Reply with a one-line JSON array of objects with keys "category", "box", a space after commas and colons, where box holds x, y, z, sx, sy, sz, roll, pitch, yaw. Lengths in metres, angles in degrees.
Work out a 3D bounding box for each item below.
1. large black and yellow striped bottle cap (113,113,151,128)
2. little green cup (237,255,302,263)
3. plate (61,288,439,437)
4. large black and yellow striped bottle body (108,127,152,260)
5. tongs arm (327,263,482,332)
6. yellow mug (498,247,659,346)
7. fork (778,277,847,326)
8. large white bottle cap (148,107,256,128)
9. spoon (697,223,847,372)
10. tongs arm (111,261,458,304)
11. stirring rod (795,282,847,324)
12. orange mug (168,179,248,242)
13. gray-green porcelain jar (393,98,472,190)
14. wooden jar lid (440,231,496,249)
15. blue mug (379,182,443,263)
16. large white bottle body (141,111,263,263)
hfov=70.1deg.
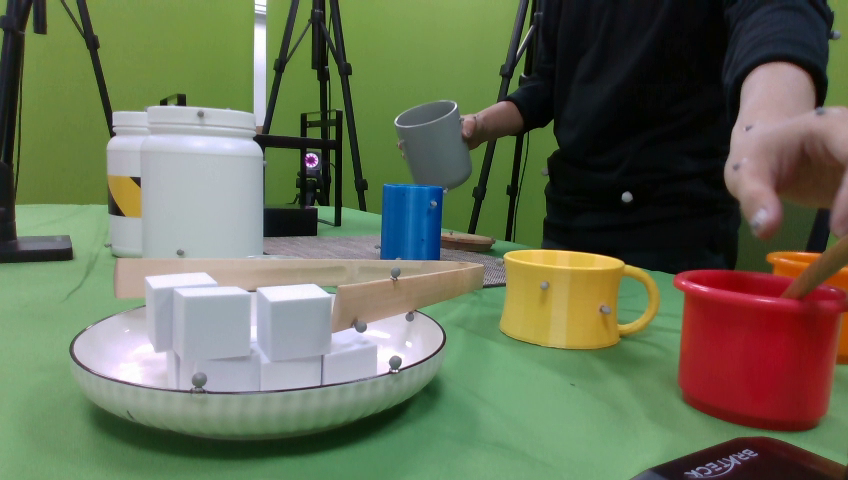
[{"category": "large black and yellow striped bottle cap", "box": [-0.348, -0.154, 0.800, 0.115, 0.019, 0.115, 2, 6, 0]}, {"category": "little green cup", "box": [-0.150, 0.038, 0.590, 0.061, 0.038, 0.061, 3, 7, 0]}, {"category": "plate", "box": [-0.095, 0.069, 0.362, 0.208, 0.039, 0.207, 3, 7, 0]}, {"category": "large black and yellow striped bottle body", "box": [-0.350, -0.071, 0.812, 0.131, 0.184, 0.130, 2, 8, 0]}, {"category": "tongs arm", "box": [-0.003, 0.036, 0.493, 0.050, 0.026, 0.386, 1, 0, 19]}, {"category": "yellow mug", "box": [0.130, 0.045, 0.509, 0.131, 0.064, 0.100, 4, 7, 5]}, {"category": "fork", "box": [0.336, 0.018, 0.443, 0.028, 0.018, 0.207, -2, -36, -20]}, {"category": "large white bottle cap", "box": [-0.250, -0.137, 0.686, 0.115, 0.018, 0.115, 2, 8, 0]}, {"category": "spoon", "box": [0.195, 0.032, 0.323, 0.041, 0.021, 0.194, 1, -36, 2]}, {"category": "tongs arm", "box": [-0.080, 0.032, 0.527, 0.028, 0.027, 0.389, -3, -3, 33]}, {"category": "stirring rod", "box": [0.346, 0.019, 0.460, 0.014, 0.176, 0.006, -16, 59, -26]}, {"category": "orange mug", "box": [-0.351, -0.050, 0.986, 0.126, 0.101, 0.083, -4, 8, -9]}, {"category": "gray-green porcelain jar", "box": [0.018, -0.151, 0.986, 0.106, 0.127, 0.105, -13, 29, 8]}, {"category": "wooden jar lid", "box": [0.066, 0.000, 1.011, 0.108, 0.020, 0.108, 6, 7, 0]}, {"category": "blue mug", "box": [-0.020, -0.026, 0.833, 0.082, 0.106, 0.116, 1, 7, -7]}, {"category": "large white bottle body", "box": [-0.254, -0.054, 0.697, 0.131, 0.184, 0.130, 2, 7, 0]}]
